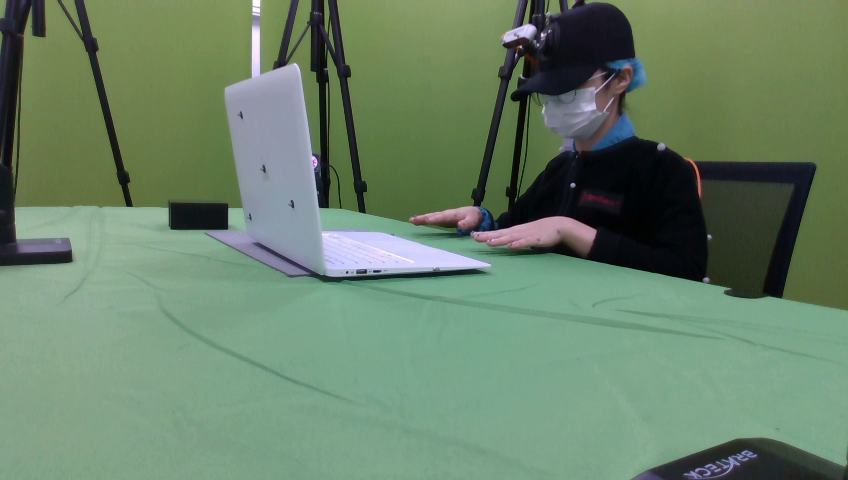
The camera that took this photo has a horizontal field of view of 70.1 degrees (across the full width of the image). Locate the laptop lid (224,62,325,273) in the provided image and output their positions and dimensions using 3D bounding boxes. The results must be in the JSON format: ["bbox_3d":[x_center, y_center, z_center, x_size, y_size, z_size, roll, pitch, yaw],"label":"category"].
[{"bbox_3d":[-0.210,-0.097,0.804,0.013,0.241,0.355,-12,15,-28],"label":"laptop lid"}]

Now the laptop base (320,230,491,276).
[{"bbox_3d":[-0.095,0.015,0.888,0.237,0.023,0.352,2,7,-30],"label":"laptop base"}]
